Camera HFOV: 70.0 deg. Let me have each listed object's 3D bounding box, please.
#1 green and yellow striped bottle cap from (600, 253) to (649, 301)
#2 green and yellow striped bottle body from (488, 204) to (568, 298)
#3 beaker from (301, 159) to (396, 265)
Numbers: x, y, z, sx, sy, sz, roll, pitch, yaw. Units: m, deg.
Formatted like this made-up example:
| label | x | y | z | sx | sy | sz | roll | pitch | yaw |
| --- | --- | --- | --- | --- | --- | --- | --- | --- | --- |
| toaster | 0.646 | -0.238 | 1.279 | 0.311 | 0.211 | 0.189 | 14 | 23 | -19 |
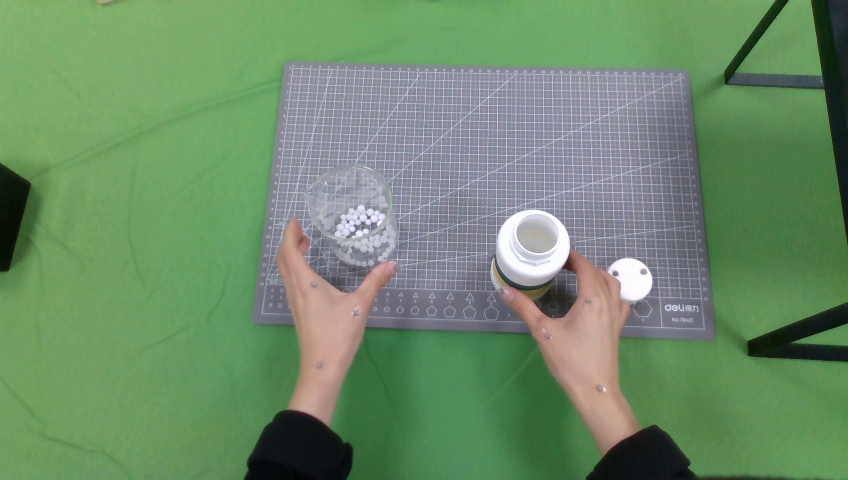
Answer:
| label | x | y | z | sx | sy | sz | roll | pitch | yaw |
| --- | --- | --- | --- | --- | --- | --- | --- | --- | --- |
| green and yellow striped bottle cap | 0.197 | 0.036 | 0.594 | 0.045 | 0.020 | 0.045 | 0 | 69 | 2 |
| green and yellow striped bottle body | 0.093 | 0.009 | 0.549 | 0.063 | 0.120 | 0.063 | 0 | 71 | 1 |
| beaker | -0.067 | -0.022 | 0.574 | 0.084 | 0.101 | 0.073 | 13 | 72 | 6 |
